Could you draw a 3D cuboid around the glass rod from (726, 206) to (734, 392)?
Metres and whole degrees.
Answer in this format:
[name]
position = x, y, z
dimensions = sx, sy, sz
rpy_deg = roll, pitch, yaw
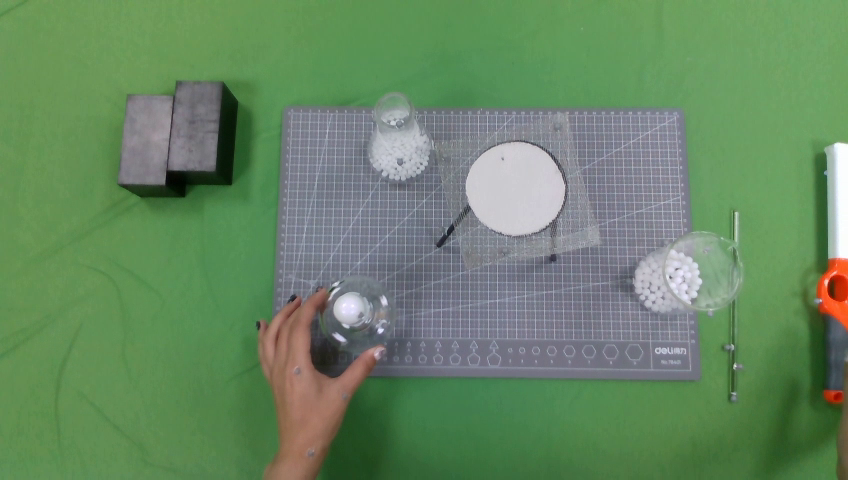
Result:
[glass rod]
position = 0.326, 0.060, 0.646
dimensions = 0.008, 0.008, 0.199
rpy_deg = 4, 80, 1

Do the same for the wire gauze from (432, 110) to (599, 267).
[wire gauze]
position = 0.079, -0.045, 0.530
dimensions = 0.125, 0.011, 0.121
rpy_deg = -12, 81, -1

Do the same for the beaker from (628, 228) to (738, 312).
[beaker]
position = 0.254, 0.032, 0.602
dimensions = 0.084, 0.100, 0.074
rpy_deg = -36, 82, -6

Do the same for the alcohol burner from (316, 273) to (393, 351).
[alcohol burner]
position = -0.070, 0.068, 0.590
dimensions = 0.078, 0.119, 0.077
rpy_deg = 0, 79, 3

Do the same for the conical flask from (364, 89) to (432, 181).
[conical flask]
position = -0.030, -0.111, 0.616
dimensions = 0.075, 0.122, 0.075
rpy_deg = 0, 79, 1

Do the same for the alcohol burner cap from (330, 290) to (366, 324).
[alcohol burner cap]
position = -0.070, 0.061, 0.554
dimensions = 0.034, 0.048, 0.034
rpy_deg = 0, 84, -3

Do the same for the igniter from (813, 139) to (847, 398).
[igniter]
position = 0.439, 0.028, 0.641
dimensions = 0.057, 0.025, 0.275
rpy_deg = 8, 80, -9

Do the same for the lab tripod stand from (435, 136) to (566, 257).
[lab tripod stand]
position = 0.079, -0.035, 0.597
dimensions = 0.148, 0.132, 0.148
rpy_deg = 0, 82, 1
